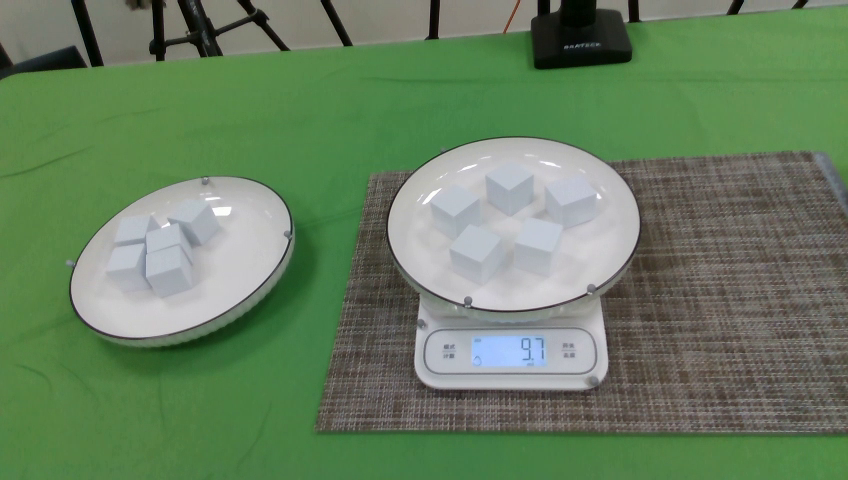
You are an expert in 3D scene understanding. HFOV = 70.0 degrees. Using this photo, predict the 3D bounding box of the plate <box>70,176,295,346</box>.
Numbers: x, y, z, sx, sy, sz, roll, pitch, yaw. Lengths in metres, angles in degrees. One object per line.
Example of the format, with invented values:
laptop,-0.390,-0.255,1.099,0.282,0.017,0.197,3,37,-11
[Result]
plate,-0.223,0.019,0.581,0.209,0.038,0.207,-4,46,5

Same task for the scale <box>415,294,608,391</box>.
scale,0.072,0.034,0.516,0.148,0.032,0.199,-1,47,9

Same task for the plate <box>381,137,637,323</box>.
plate,0.069,-0.010,0.512,0.207,0.039,0.205,-4,46,4
